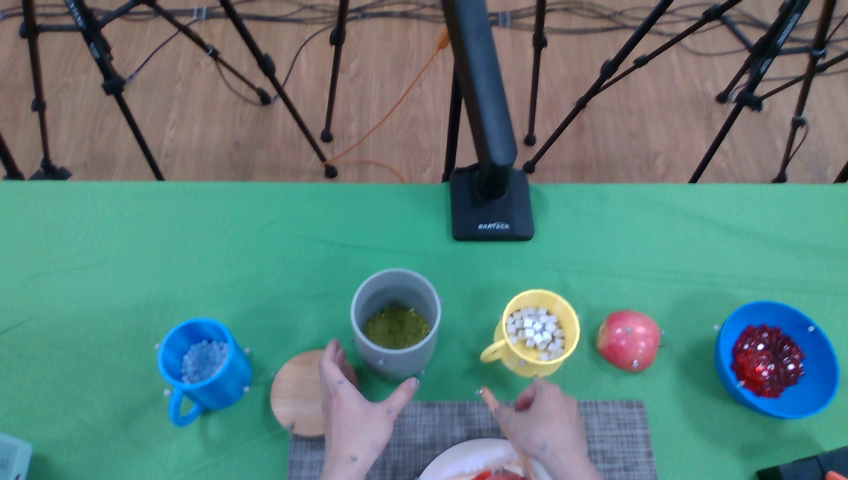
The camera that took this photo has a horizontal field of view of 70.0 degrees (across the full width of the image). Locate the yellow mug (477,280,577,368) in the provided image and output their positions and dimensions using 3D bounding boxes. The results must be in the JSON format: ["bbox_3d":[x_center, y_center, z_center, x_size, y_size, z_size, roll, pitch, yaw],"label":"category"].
[{"bbox_3d":[0.128,0.115,0.787,0.131,0.064,0.099,-22,67,-13],"label":"yellow mug"}]

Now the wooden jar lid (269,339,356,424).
[{"bbox_3d":[-0.139,0.178,0.761,0.108,0.021,0.107,2,60,-3],"label":"wooden jar lid"}]

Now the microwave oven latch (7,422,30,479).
[{"bbox_3d":[-0.468,0.245,0.677,0.030,0.030,0.078,4,64,-2],"label":"microwave oven latch"}]

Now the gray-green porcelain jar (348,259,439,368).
[{"bbox_3d":[-0.038,0.097,0.751,0.106,0.127,0.105,2,63,-3],"label":"gray-green porcelain jar"}]

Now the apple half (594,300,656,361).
[{"bbox_3d":[0.270,0.114,0.805,0.074,0.054,0.080,20,64,9],"label":"apple half"}]

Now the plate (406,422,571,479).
[{"bbox_3d":[0.074,0.318,0.696,0.208,0.039,0.206,2,64,-3],"label":"plate"}]

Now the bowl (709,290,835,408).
[{"bbox_3d":[0.433,0.149,0.784,0.151,0.077,0.150,1,64,-3],"label":"bowl"}]

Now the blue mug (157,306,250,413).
[{"bbox_3d":[-0.267,0.150,0.721,0.082,0.106,0.116,19,64,6],"label":"blue mug"}]

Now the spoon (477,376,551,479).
[{"bbox_3d":[0.116,0.246,0.715,0.041,0.022,0.192,-25,77,-15],"label":"spoon"}]

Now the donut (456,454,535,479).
[{"bbox_3d":[0.080,0.291,0.678,0.099,0.048,0.098,2,63,-3],"label":"donut"}]

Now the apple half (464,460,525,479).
[{"bbox_3d":[0.079,0.274,0.645,0.081,0.033,0.080,-1,60,3],"label":"apple half"}]

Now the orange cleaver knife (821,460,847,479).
[{"bbox_3d":[0.492,0.359,0.683,0.012,0.077,0.211,-8,86,-15],"label":"orange cleaver knife"}]

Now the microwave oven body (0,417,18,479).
[{"bbox_3d":[-0.608,0.359,0.504,0.326,0.262,0.438,1,64,-4],"label":"microwave oven body"}]

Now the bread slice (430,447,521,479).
[{"bbox_3d":[0.079,0.318,0.699,0.107,0.018,0.133,-16,65,-10],"label":"bread slice"}]
